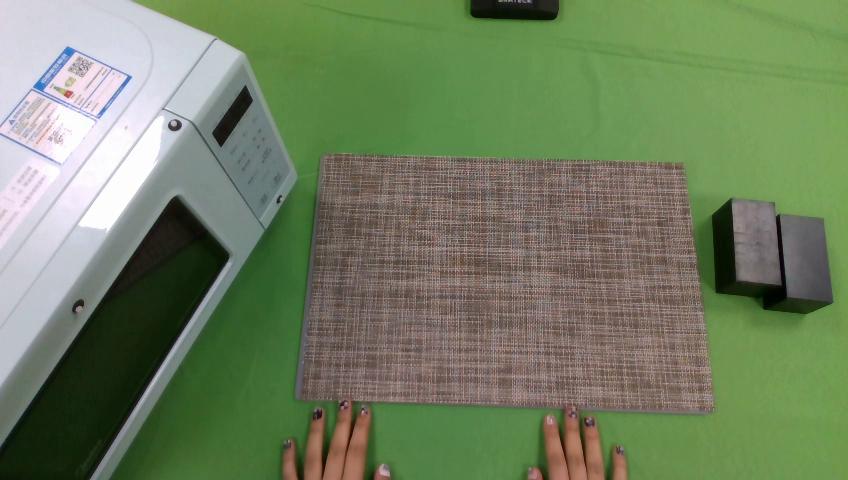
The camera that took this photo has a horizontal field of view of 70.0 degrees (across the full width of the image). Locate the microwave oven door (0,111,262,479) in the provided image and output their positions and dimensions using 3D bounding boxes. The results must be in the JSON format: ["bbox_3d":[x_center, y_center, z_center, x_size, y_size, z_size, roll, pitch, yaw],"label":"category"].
[{"bbox_3d":[-0.280,0.086,0.542,0.039,0.245,0.354,25,72,9],"label":"microwave oven door"}]

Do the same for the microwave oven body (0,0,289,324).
[{"bbox_3d":[-0.393,-0.009,0.579,0.325,0.261,0.440,25,73,7],"label":"microwave oven body"}]

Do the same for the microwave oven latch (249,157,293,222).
[{"bbox_3d":[-0.182,-0.062,0.704,0.030,0.029,0.079,25,73,7],"label":"microwave oven latch"}]

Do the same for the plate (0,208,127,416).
[{"bbox_3d":[-0.387,0.069,0.595,0.209,0.038,0.207,-3,68,7],"label":"plate"}]

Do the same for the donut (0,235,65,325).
[{"bbox_3d":[-0.415,0.039,0.610,0.099,0.048,0.098,2,55,-3],"label":"donut"}]
